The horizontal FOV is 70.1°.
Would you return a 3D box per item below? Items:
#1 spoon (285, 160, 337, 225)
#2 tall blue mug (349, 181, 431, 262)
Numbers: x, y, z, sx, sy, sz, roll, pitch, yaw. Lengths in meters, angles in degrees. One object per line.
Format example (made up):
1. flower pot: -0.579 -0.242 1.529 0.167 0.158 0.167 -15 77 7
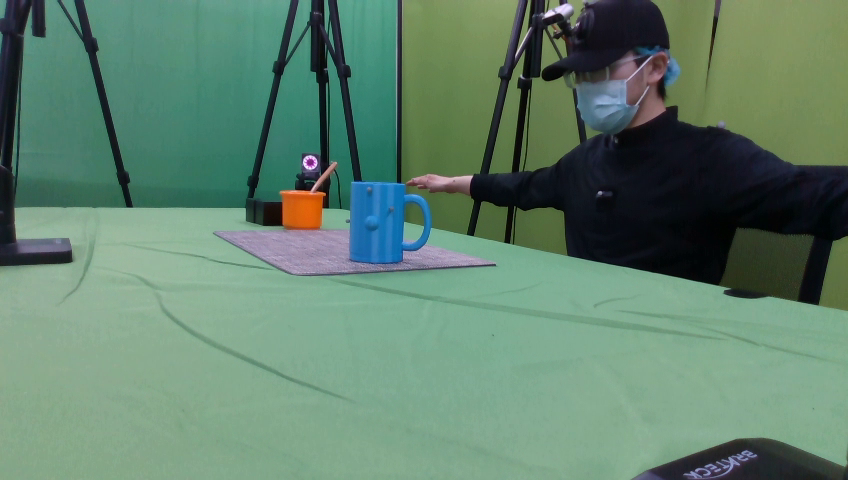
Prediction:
1. spoon: -0.229 -0.101 1.251 0.041 0.194 0.022 4 -37 34
2. tall blue mug: -0.051 -0.028 0.849 0.108 0.108 0.077 -1 7 -22
